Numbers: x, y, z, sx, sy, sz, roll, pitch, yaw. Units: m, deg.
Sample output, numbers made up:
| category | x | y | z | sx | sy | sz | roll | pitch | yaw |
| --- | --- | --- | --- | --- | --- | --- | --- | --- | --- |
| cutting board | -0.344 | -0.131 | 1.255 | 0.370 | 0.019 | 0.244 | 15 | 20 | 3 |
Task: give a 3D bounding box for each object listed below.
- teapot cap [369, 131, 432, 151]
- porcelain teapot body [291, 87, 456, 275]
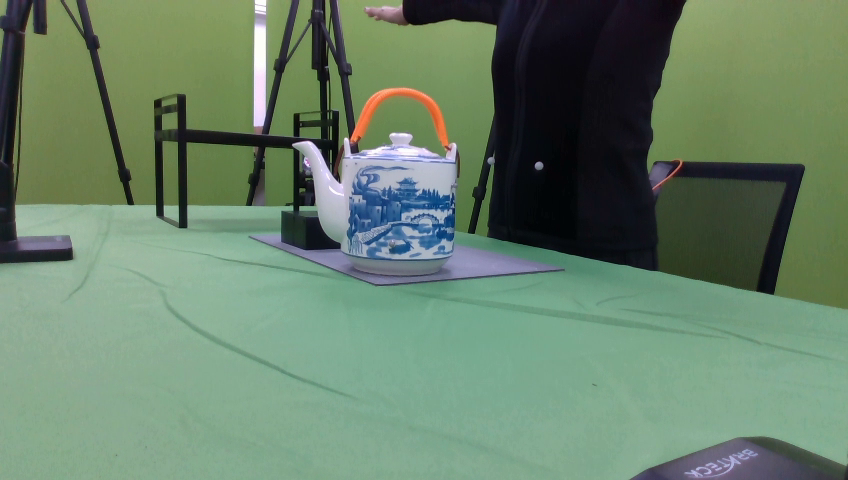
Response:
| category | x | y | z | sx | sy | sz | roll | pitch | yaw |
| --- | --- | --- | --- | --- | --- | --- | --- | --- | --- |
| teapot cap | -0.030 | -0.114 | 0.754 | 0.085 | 0.044 | 0.085 | 0 | 10 | 0 |
| porcelain teapot body | -0.061 | -0.076 | 0.754 | 0.206 | 0.225 | 0.145 | 0 | 8 | -12 |
